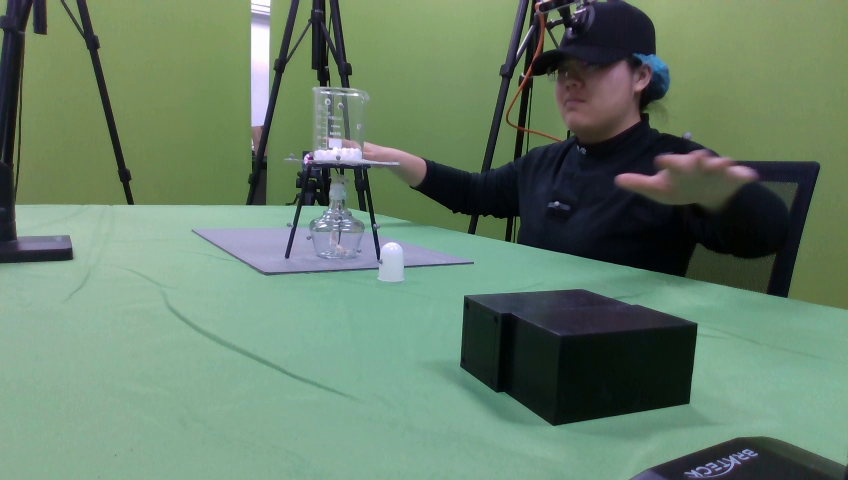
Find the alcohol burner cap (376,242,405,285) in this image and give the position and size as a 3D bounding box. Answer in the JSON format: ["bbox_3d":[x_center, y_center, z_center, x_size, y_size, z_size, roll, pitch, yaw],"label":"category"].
[{"bbox_3d":[-0.039,0.026,0.710,0.034,0.048,0.034,3,6,0],"label":"alcohol burner cap"}]

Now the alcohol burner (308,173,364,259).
[{"bbox_3d":[-0.121,-0.033,0.843,0.078,0.119,0.078,3,5,0],"label":"alcohol burner"}]

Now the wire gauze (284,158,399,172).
[{"bbox_3d":[-0.116,-0.108,0.835,0.126,0.011,0.121,0,10,-31],"label":"wire gauze"}]

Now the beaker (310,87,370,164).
[{"bbox_3d":[-0.116,-0.156,0.833,0.084,0.100,0.073,-2,10,-29],"label":"beaker"}]

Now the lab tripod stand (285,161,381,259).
[{"bbox_3d":[-0.123,-0.043,0.842,0.148,0.131,0.148,2,9,0],"label":"lab tripod stand"}]
